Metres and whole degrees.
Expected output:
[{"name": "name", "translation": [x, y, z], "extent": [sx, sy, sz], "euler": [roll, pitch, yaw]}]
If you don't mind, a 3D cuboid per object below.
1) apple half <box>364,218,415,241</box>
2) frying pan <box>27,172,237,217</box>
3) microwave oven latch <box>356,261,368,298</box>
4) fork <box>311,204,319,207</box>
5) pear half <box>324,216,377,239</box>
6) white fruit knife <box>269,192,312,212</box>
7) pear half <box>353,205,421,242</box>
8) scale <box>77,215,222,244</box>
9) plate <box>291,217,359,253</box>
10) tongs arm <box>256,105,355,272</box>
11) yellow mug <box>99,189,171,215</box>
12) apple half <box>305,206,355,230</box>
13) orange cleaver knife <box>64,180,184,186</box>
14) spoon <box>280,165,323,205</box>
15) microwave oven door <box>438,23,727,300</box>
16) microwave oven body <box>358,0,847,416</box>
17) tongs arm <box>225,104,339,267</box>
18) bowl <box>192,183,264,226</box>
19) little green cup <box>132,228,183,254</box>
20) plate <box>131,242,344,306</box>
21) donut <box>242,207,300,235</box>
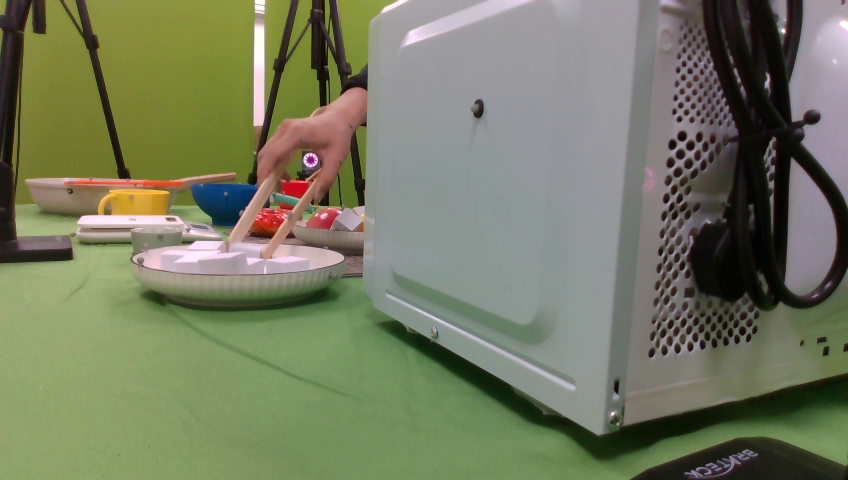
[{"name": "apple half", "translation": [-0.054, -0.019, 0.966], "extent": [0.081, 0.033, 0.081], "euler": [-3, 11, 1]}, {"name": "frying pan", "translation": [-0.624, -0.118, 1.387], "extent": [0.305, 0.102, 0.490], "euler": [8, 17, 32]}, {"name": "microwave oven latch", "translation": [-0.019, 0.033, 0.530], "extent": [0.079, 0.029, 0.030], "euler": [-1, 7, -26]}, {"name": "fork", "translation": [-0.356, -0.105, 1.526], "extent": [0.208, 0.018, 0.028], "euler": [16, -5, -41]}, {"name": "pear half", "translation": [-0.119, -0.023, 0.996], "extent": [0.088, 0.031, 0.070], "euler": [-4, 23, -28]}, {"name": "white fruit knife", "translation": [-0.364, -0.105, 1.464], "extent": [0.208, 0.027, 0.016], "euler": [15, 0, -34]}, {"name": "pear half", "translation": [-0.051, -0.024, 0.905], "extent": [0.110, 0.056, 0.076], "euler": [2, -2, -38]}, {"name": "scale", "translation": [-0.434, -0.019, 0.963], "extent": [0.202, 0.031, 0.148], "euler": [-1, 9, -27]}, {"name": "plate", "translation": [-0.103, -0.009, 0.945], "extent": [0.209, 0.038, 0.209], "euler": [2, 7, 0]}, {"name": "tongs arm", "translation": [-0.151, -0.087, 0.782], "extent": [0.051, 0.026, 0.385], "euler": [14, 36, 6]}, {"name": "yellow mug", "translation": [-0.519, -0.055, 1.080], "extent": [0.099, 0.064, 0.131], "euler": [7, 9, 26]}, {"name": "apple half", "translation": [-0.138, -0.025, 0.917], "extent": [0.081, 0.053, 0.074], "euler": [0, 10, -43]}, {"name": "orange cleaver knife", "translation": [-0.595, -0.114, 1.212], "extent": [0.212, 0.012, 0.077], "euler": [-4, 6, -41]}, {"name": "spoon", "translation": [-0.317, -0.159, 1.640], "extent": [0.194, 0.022, 0.041], "euler": [-49, 32, -20]}, {"name": "microwave oven door", "translation": [0.181, -0.073, 0.621], "extent": [0.358, 0.243, 0.039], "euler": [-2, 8, -29]}, {"name": "microwave oven body", "translation": [0.211, -0.047, 0.475], "extent": [0.444, 0.260, 0.324], "euler": [-1, 7, -28]}, {"name": "tongs arm", "translation": [-0.174, -0.091, 0.783], "extent": [0.028, 0.028, 0.387], "euler": [9, 36, 4]}, {"name": "bowl", "translation": [-0.382, -0.071, 1.202], "extent": [0.151, 0.077, 0.151], "euler": [3, 7, 0]}, {"name": "little green cup", "translation": [-0.342, 0.006, 0.779], "extent": [0.061, 0.038, 0.061], "euler": [2, 8, 0]}, {"name": "plate", "translation": [-0.187, 0.033, 0.625], "extent": [0.208, 0.039, 0.207], "euler": [2, 7, 0]}, {"name": "donut", "translation": [-0.263, -0.031, 1.039], "extent": [0.099, 0.048, 0.099], "euler": [4, 9, 0]}]
